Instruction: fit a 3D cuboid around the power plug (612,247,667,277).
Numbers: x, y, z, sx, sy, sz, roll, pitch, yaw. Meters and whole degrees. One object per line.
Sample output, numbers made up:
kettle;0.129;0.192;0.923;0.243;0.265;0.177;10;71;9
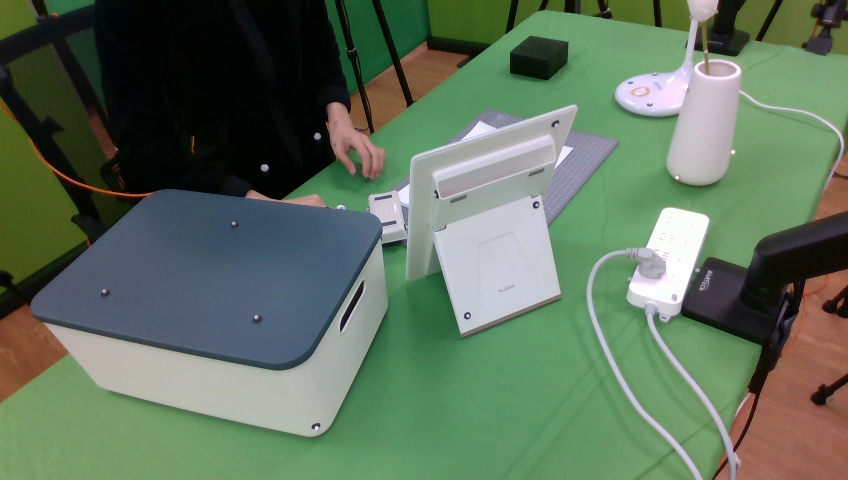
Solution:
power plug;0.306;0.031;0.852;0.072;0.053;0.035;21;48;37

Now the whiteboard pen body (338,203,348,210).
whiteboard pen body;-0.147;-0.015;1.018;0.017;0.017;0.140;-1;41;6

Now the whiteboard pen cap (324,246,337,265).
whiteboard pen cap;-0.150;0.024;0.974;0.018;0.018;0.033;-3;36;5

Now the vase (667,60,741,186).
vase;0.463;-0.189;0.994;0.098;0.201;0.097;-4;40;4

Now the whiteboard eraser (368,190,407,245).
whiteboard eraser;-0.061;-0.035;1.005;0.056;0.042;0.112;-9;40;-4

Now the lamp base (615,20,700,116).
lamp base;0.484;-0.364;1.211;0.180;0.181;0.159;-15;41;-14

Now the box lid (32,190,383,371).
box lid;-0.257;0.032;0.750;0.370;0.015;0.263;7;42;16

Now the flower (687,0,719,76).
flower;0.436;-0.242;0.934;0.038;0.364;0.043;-24;49;8

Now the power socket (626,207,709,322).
power socket;0.360;0.026;0.886;0.072;0.033;0.227;17;46;27

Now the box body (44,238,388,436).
box body;-0.251;0.088;0.799;0.362;0.161;0.254;7;42;16

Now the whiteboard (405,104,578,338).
whiteboard;0.102;0.003;0.787;0.218;0.306;0.143;-19;62;-14
